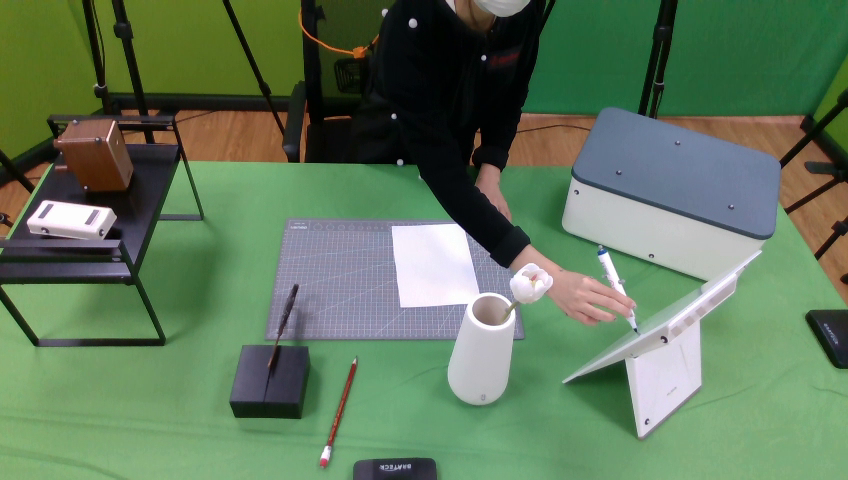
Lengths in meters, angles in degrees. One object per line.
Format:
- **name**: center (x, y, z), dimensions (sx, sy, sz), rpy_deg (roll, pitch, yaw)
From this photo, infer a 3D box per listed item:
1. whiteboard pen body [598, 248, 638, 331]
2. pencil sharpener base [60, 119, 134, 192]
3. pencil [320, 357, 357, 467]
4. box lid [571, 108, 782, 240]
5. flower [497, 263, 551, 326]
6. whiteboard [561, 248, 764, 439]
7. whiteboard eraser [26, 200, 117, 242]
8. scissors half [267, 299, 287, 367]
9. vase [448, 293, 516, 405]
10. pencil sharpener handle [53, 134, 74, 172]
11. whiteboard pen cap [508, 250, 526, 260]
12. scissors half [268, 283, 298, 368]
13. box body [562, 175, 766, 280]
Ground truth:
- **whiteboard pen body**: center (0.300, 0.077, 0.930), dimensions (0.017, 0.017, 0.141), rpy_deg (-28, 96, -27)
- **pencil sharpener base**: center (-0.528, -0.135, 0.979), dimensions (0.077, 0.107, 0.061), rpy_deg (-4, 47, -7)
- **pencil**: center (-0.130, 0.261, 0.947), dimensions (0.012, 0.012, 0.193), rpy_deg (10, 45, 5)
- **box lid**: center (0.491, -0.139, 1.168), dimensions (0.370, 0.015, 0.262), rpy_deg (21, 49, 15)
- **flower**: center (0.103, 0.121, 0.852), dimensions (0.044, 0.363, 0.038), rpy_deg (-1, 64, -9)
- **whiteboard**: center (0.386, 0.176, 0.905), dimensions (0.217, 0.306, 0.143), rpy_deg (-26, 72, -27)
- **whiteboard eraser**: center (-0.532, -0.026, 0.919), dimensions (0.113, 0.042, 0.055), rpy_deg (7, 45, 3)
- **scissors half**: center (-0.238, 0.150, 0.997), dimensions (0.013, 0.040, 0.174), rpy_deg (24, 24, -13)
- **vase**: center (0.091, 0.169, 0.921), dimensions (0.098, 0.201, 0.097), rpy_deg (3, 47, -3)
- **pencil sharpener handle**: center (-0.577, -0.138, 0.961), dimensions (0.031, 0.068, 0.036), rpy_deg (-4, 34, -7)
- **whiteboard pen cap**: center (0.181, 0.029, 1.185), dimensions (0.033, 0.018, 0.018), rpy_deg (-4, 47, -14)
- **scissors half**: center (-0.230, 0.135, 0.986), dimensions (0.013, 0.040, 0.174), rpy_deg (19, 43, -11)
- **box body**: center (0.486, -0.088, 1.222), dimensions (0.363, 0.161, 0.253), rpy_deg (20, 48, 15)
